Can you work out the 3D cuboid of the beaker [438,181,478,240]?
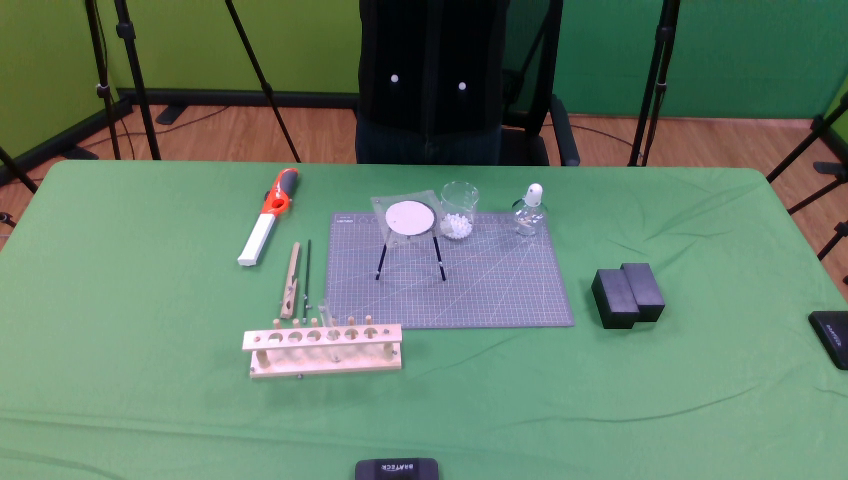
[{"bbox_3d":[0.066,-0.054,1.200,0.074,0.101,0.083,-17,50,-19],"label":"beaker"}]

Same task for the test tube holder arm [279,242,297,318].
[{"bbox_3d":[-0.249,0.069,1.113,0.013,0.015,0.177,25,39,-27],"label":"test tube holder arm"}]

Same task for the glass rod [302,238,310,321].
[{"bbox_3d":[-0.218,0.069,1.125,0.008,0.008,0.198,-2,47,-5],"label":"glass rod"}]

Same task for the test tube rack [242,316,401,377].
[{"bbox_3d":[-0.161,0.166,0.983,0.242,0.085,0.066,-2,46,-6],"label":"test tube rack"}]

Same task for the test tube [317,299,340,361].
[{"bbox_3d":[-0.147,0.142,0.937,0.017,0.151,0.017,-1,46,2],"label":"test tube"}]

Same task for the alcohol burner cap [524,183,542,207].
[{"bbox_3d":[0.216,-0.090,1.186,0.034,0.048,0.033,1,56,-1],"label":"alcohol burner cap"}]

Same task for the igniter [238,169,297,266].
[{"bbox_3d":[-0.313,-0.055,1.224,0.057,0.025,0.275,1,45,10],"label":"igniter"}]

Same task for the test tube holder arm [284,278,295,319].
[{"bbox_3d":[-0.241,0.103,1.085,0.010,0.015,0.087,25,39,-27],"label":"test tube holder arm"}]

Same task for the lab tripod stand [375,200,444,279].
[{"bbox_3d":[-0.023,0.003,1.113,0.148,0.132,0.147,4,45,-3],"label":"lab tripod stand"}]

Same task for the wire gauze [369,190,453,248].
[{"bbox_3d":[-0.024,-0.042,1.064,0.121,0.011,0.124,-10,48,-16],"label":"wire gauze"}]

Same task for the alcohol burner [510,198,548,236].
[{"bbox_3d":[0.214,-0.066,1.213,0.078,0.119,0.077,2,48,-3],"label":"alcohol burner"}]
